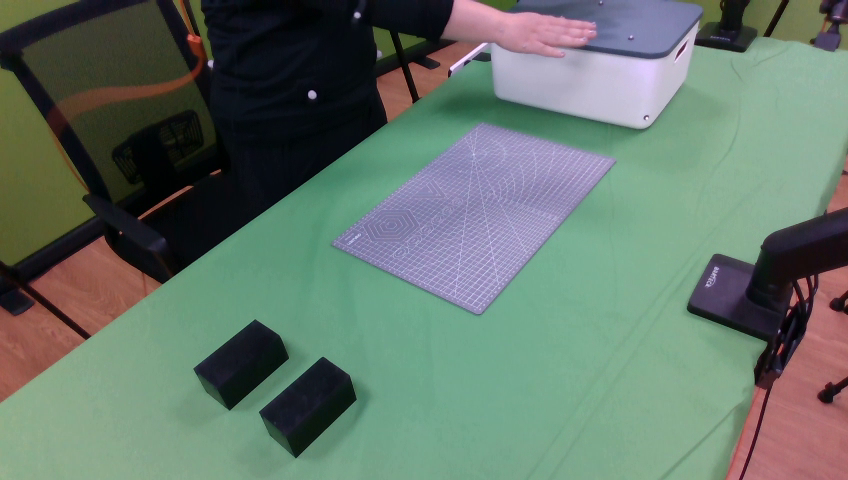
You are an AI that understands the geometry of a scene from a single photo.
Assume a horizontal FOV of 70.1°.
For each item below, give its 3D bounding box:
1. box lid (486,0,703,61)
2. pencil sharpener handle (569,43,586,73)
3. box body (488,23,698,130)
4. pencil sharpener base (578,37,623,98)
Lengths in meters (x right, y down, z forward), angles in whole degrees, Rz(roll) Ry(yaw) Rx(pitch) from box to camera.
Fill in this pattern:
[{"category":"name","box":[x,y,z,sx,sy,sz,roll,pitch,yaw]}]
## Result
[{"category":"box lid","box":[0.338,-0.435,1.208,0.368,0.015,0.264,20,47,29]},{"category":"pencil sharpener handle","box":[0.323,-0.387,1.284,0.030,0.068,0.036,19,55,29]},{"category":"box body","box":[0.345,-0.379,1.257,0.361,0.161,0.255,20,48,29]},{"category":"pencil sharpener base","box":[0.365,-0.362,1.267,0.076,0.107,0.061,19,47,29]}]
